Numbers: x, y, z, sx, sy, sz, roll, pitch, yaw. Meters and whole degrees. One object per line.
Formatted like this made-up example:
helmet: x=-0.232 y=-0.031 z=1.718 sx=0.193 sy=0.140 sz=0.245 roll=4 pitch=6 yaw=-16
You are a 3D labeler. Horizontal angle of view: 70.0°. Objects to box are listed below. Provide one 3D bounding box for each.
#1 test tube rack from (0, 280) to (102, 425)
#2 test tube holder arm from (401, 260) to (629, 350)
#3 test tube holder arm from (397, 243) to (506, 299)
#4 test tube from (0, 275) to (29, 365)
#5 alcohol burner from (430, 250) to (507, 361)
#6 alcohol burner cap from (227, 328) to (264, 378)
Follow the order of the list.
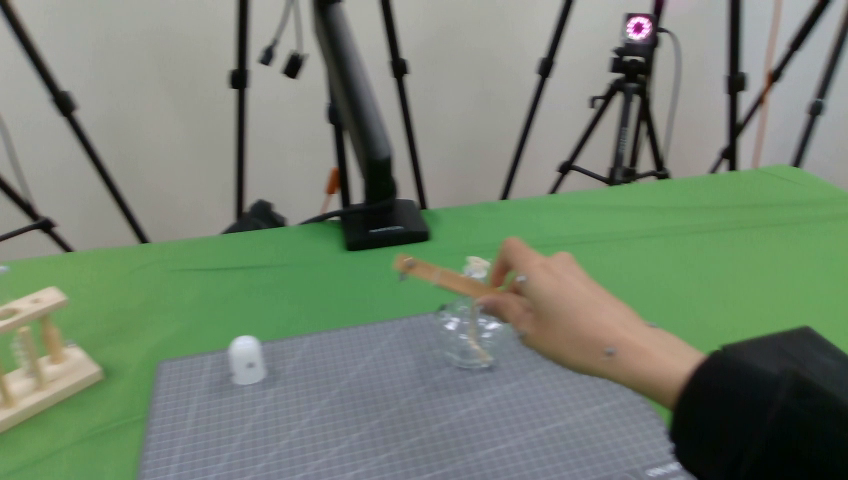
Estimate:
test tube rack: x=-0.428 y=0.132 z=0.527 sx=0.066 sy=0.086 sz=0.242 roll=23 pitch=37 yaw=34
test tube holder arm: x=0.061 y=0.039 z=0.445 sx=0.177 sy=0.015 sz=0.013 roll=21 pitch=2 yaw=19
test tube holder arm: x=0.020 y=0.023 z=0.455 sx=0.087 sy=0.015 sz=0.010 roll=21 pitch=2 yaw=20
test tube: x=-0.395 y=0.053 z=0.563 sx=0.017 sy=0.151 sz=0.017 roll=-3 pitch=26 yaw=2
alcohol burner: x=0.045 y=0.061 z=0.604 sx=0.078 sy=0.120 sz=0.077 roll=1 pitch=30 yaw=0
alcohol burner cap: x=-0.178 y=0.109 z=0.598 sx=0.034 sy=0.048 sz=0.033 roll=-1 pitch=30 yaw=1
